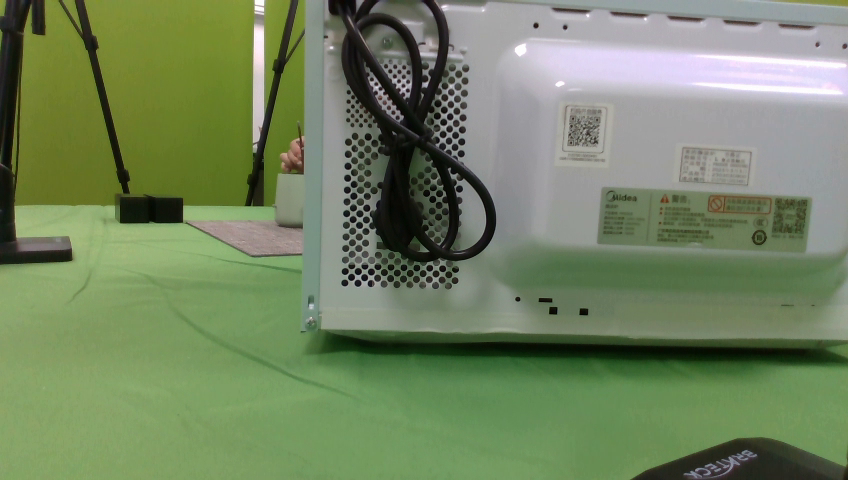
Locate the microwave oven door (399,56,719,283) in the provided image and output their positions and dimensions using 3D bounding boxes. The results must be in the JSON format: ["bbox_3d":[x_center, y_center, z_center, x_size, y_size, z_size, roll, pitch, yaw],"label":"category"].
[{"bbox_3d":[0.155,-0.078,0.697,0.356,0.243,0.039,2,8,-5],"label":"microwave oven door"}]

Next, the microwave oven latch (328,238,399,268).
[{"bbox_3d":[-0.069,0.015,0.694,0.079,0.029,0.030,3,7,-3],"label":"microwave oven latch"}]

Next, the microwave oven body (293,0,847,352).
[{"bbox_3d":[0.122,-0.055,0.550,0.442,0.260,0.325,3,7,-5],"label":"microwave oven body"}]

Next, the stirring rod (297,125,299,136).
[{"bbox_3d":[-0.238,-0.139,1.197,0.006,0.176,0.014,-6,9,-9],"label":"stirring rod"}]

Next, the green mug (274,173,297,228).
[{"bbox_3d":[-0.242,-0.081,1.221,0.092,0.105,0.126,8,9,40],"label":"green mug"}]
